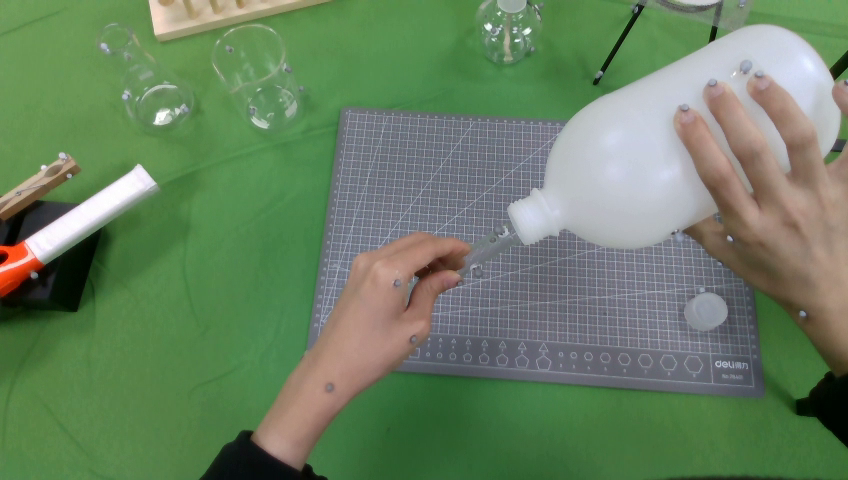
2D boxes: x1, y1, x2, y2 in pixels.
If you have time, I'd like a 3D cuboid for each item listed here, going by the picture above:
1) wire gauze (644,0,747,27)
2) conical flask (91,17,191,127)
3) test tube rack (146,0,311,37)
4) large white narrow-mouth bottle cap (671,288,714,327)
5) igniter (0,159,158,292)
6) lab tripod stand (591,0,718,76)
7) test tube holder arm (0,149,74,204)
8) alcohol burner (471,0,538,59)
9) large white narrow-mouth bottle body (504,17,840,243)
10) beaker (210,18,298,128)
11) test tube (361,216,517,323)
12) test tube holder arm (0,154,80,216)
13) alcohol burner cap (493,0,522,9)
[{"bbox_3d":[0.269,-0.274,0.604,0.121,0.011,0.124,25,72,7],"label":"wire gauze"},{"bbox_3d":[-0.306,-0.182,0.646,0.075,0.122,0.075,0,69,0],"label":"conical flask"},{"bbox_3d":[-0.219,-0.322,0.718,0.242,0.086,0.066,-16,70,-6],"label":"test tube rack"},{"bbox_3d":[0.270,0.068,0.608,0.038,0.024,0.037,0,71,1],"label":"large white narrow-mouth bottle cap"},{"bbox_3d":[-0.383,0.013,0.576,0.276,0.025,0.057,-39,76,-16],"label":"igniter"},{"bbox_3d":[0.262,-0.250,0.667,0.148,0.132,0.147,1,69,-1],"label":"lab tripod stand"},{"bbox_3d":[-0.425,-0.031,0.595,0.178,0.015,0.013,-39,74,-14],"label":"test tube holder arm"},{"bbox_3d":[0.093,-0.262,0.682,0.078,0.120,0.077,1,68,-1],"label":"alcohol burner"},{"bbox_3d":[0.143,-0.054,0.385,0.194,0.102,0.101,-26,71,3],"label":"large white narrow-mouth bottle body"},{"bbox_3d":[-0.180,-0.173,0.656,0.074,0.101,0.083,18,71,7],"label":"beaker"},{"bbox_3d":[0.006,0.025,0.436,0.150,0.017,0.017,-34,66,32],"label":"test tube"},{"bbox_3d":[-0.387,-0.055,0.604,0.088,0.015,0.010,-38,74,-14],"label":"test tube holder arm"},{"bbox_3d":[0.092,-0.277,0.648,0.034,0.048,0.033,0,69,0],"label":"alcohol burner cap"}]
